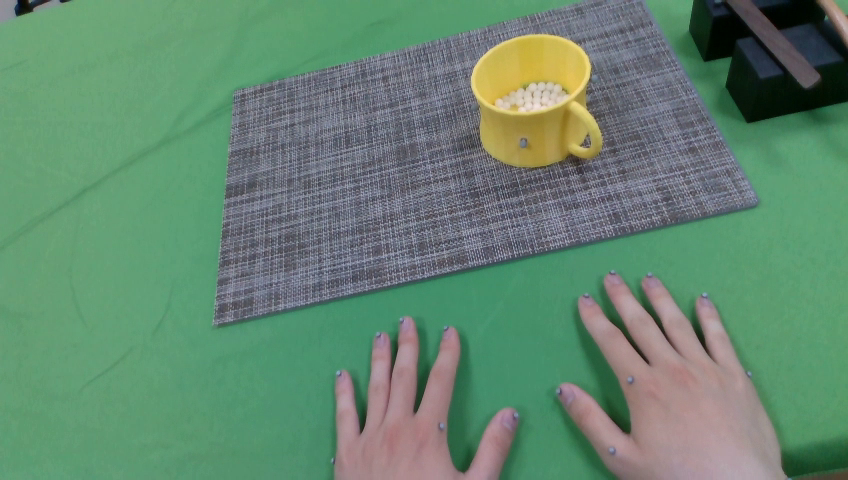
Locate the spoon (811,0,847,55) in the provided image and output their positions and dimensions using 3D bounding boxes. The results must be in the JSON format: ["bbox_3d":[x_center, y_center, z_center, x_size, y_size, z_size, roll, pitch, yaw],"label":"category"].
[{"bbox_3d":[0.325,-0.190,0.497,0.041,0.022,0.191,-12,56,4],"label":"spoon"}]

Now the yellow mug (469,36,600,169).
[{"bbox_3d":[0.102,-0.113,0.526,0.100,0.064,0.129,-38,57,-13],"label":"yellow mug"}]

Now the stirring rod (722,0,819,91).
[{"bbox_3d":[0.275,-0.184,0.507,0.014,0.006,0.174,-42,46,32],"label":"stirring rod"}]
